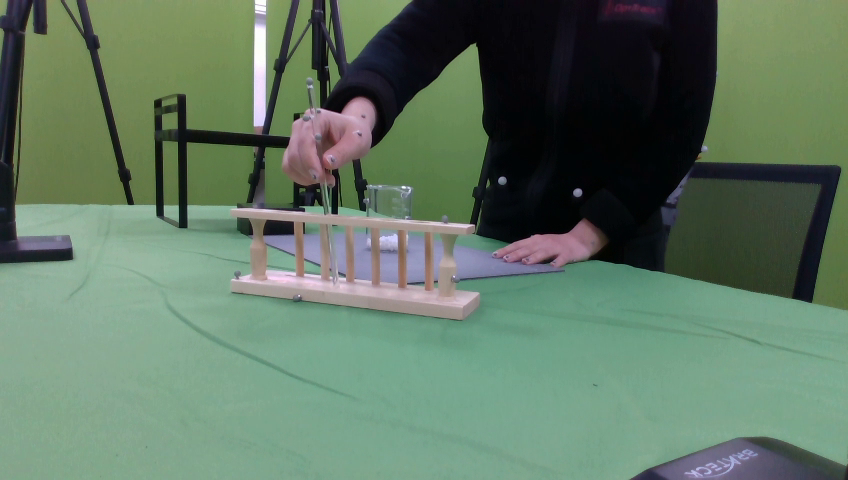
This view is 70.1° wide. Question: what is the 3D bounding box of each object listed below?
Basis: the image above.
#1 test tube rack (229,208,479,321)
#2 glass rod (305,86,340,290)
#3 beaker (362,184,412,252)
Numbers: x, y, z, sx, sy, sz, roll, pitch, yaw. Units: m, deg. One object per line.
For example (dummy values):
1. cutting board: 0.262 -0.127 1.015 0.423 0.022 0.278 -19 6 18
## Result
1. test tube rack: -0.070 0.018 0.597 0.242 0.085 0.067 5 8 18
2. glass rod: -0.098 -0.048 0.579 0.008 0.199 0.008 -7 4 1
3. beaker: -0.056 -0.034 0.935 0.083 0.100 0.074 10 11 44
